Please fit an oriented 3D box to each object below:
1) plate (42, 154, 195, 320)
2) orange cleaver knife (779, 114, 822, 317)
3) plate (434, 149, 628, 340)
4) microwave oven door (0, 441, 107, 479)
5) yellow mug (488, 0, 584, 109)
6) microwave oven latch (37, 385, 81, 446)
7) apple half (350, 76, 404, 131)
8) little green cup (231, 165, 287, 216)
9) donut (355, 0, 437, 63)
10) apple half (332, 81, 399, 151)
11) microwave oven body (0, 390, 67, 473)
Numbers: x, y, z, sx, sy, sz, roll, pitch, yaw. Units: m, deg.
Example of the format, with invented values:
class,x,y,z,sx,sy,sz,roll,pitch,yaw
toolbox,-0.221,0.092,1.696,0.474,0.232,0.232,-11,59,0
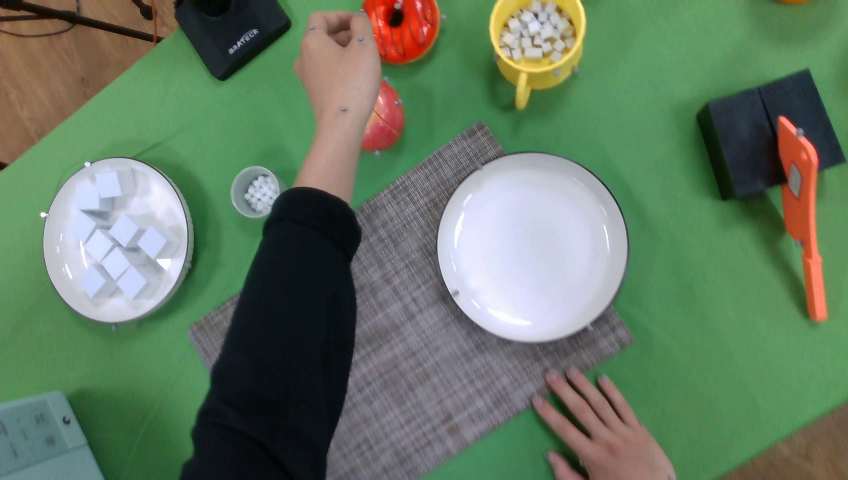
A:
class,x,y,z,sx,sy,sz,roll,pitch,yaw
plate,-0.382,-0.004,0.770,0.207,0.039,0.207,0,88,11
orange cleaver knife,0.374,-0.021,0.605,0.012,0.076,0.213,-14,115,13
plate,0.116,0.004,0.671,0.209,0.038,0.209,0,88,11
microwave oven door,-0.373,0.406,0.633,0.039,0.244,0.354,-32,82,8
yellow mug,0.119,-0.209,0.667,0.099,0.064,0.131,14,92,11
microwave oven latch,-0.463,0.222,0.759,0.030,0.029,0.079,-27,84,8
apple half,-0.045,-0.161,0.693,0.033,0.081,0.081,-44,80,11
little green cup,-0.198,-0.058,0.737,0.061,0.039,0.061,-1,88,11
donut,-0.032,-0.256,0.709,0.099,0.048,0.099,0,91,11
apple half,-0.073,-0.134,0.698,0.053,0.075,0.080,-43,85,11
microwave oven body,-0.516,0.445,0.664,0.326,0.261,0.440,-32,83,8
